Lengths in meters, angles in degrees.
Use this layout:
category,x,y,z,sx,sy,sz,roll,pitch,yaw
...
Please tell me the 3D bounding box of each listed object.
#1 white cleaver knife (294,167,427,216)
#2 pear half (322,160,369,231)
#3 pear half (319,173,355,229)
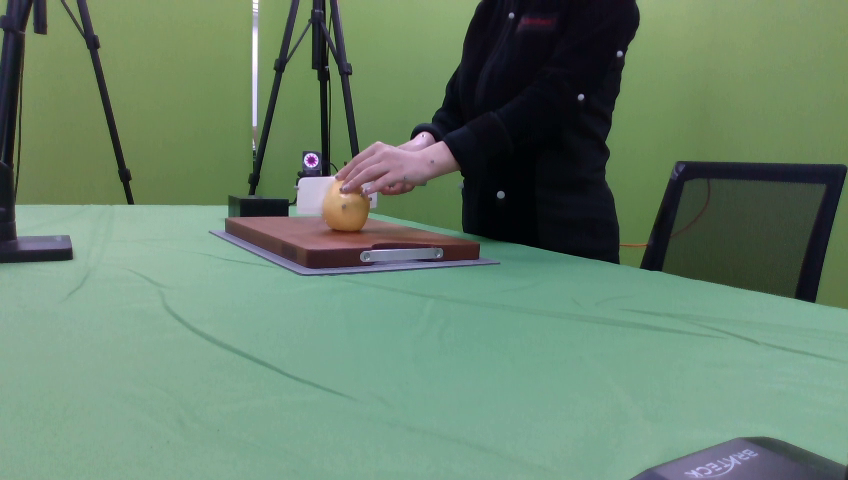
category,x,y,z,sx,sy,sz,roll,pitch,yaw
white cleaver knife,-0.097,-0.082,0.992,0.021,0.066,0.288,13,17,42
pear half,-0.114,-0.068,0.936,0.055,0.110,0.077,9,15,33
pear half,-0.143,-0.061,0.960,0.031,0.088,0.071,1,10,35
